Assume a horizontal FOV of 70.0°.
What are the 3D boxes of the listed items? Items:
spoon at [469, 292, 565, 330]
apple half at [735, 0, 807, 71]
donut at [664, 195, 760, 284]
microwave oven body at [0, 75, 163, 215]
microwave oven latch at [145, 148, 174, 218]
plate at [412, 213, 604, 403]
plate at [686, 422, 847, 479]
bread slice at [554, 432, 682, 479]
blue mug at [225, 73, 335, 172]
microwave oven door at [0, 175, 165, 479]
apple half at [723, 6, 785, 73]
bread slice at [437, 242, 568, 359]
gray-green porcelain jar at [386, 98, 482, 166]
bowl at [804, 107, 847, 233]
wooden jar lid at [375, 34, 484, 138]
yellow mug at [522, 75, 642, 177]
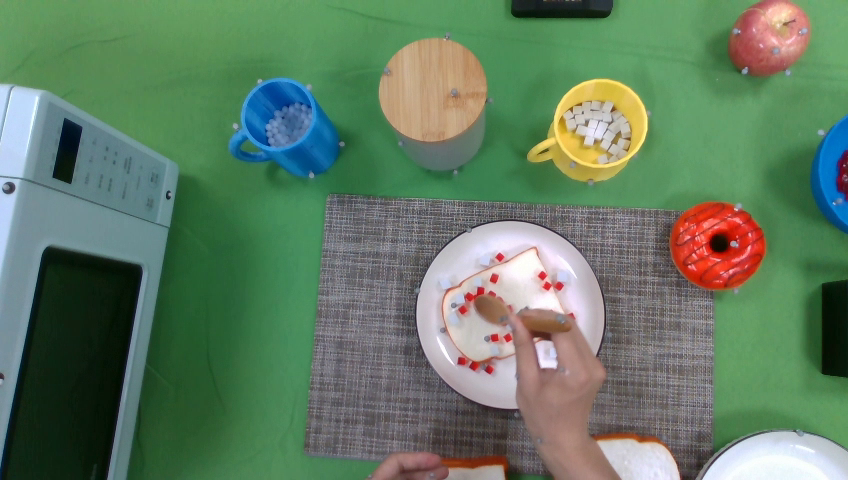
[{"bbox_3d":[0.084,0.072,0.579,0.021,0.193,0.042,-37,99,-11],"label":"spoon"},{"bbox_3d":[0.389,-0.234,0.676,0.053,0.075,0.080,-29,77,-5],"label":"apple half"},{"bbox_3d":[0.313,0.000,0.663,0.099,0.048,0.099,-1,83,5],"label":"donut"},{"bbox_3d":[-0.494,0.077,0.612,0.326,0.261,0.440,6,84,5],"label":"microwave oven body"},{"bbox_3d":[-0.317,-0.068,0.713,0.030,0.029,0.079,8,84,5],"label":"microwave oven latch"},{"bbox_3d":[0.092,0.074,0.676,0.207,0.039,0.207,-1,83,5],"label":"plate"},{"bbox_3d":[0.368,0.293,0.628,0.209,0.038,0.208,-1,83,5],"label":"plate"},{"bbox_3d":[0.203,0.254,0.621,0.135,0.018,0.106,-2,79,-15],"label":"bread slice"},{"bbox_3d":[-0.168,-0.125,0.692,0.116,0.106,0.082,-22,81,2],"label":"blue mug"},{"bbox_3d":[-0.355,0.135,0.588,0.039,0.244,0.355,6,83,6],"label":"microwave oven door"},{"bbox_3d":[0.356,-0.214,0.674,0.033,0.081,0.081,-29,81,-4],"label":"apple half"},{"bbox_3d":[0.082,0.075,0.676,0.131,0.019,0.104,-24,82,2],"label":"bread slice"},{"bbox_3d":[0.011,-0.143,0.669,0.106,0.127,0.105,-1,82,5],"label":"gray-green porcelain jar"},{"bbox_3d":[0.472,-0.067,0.645,0.151,0.077,0.151,-1,83,5],"label":"bowl"},{"bbox_3d":[0.005,-0.152,0.608,0.108,0.021,0.108,-1,81,5],"label":"wooden jar lid"},{"bbox_3d":[0.173,-0.121,0.683,0.131,0.064,0.099,-21,82,3],"label":"yellow mug"}]
